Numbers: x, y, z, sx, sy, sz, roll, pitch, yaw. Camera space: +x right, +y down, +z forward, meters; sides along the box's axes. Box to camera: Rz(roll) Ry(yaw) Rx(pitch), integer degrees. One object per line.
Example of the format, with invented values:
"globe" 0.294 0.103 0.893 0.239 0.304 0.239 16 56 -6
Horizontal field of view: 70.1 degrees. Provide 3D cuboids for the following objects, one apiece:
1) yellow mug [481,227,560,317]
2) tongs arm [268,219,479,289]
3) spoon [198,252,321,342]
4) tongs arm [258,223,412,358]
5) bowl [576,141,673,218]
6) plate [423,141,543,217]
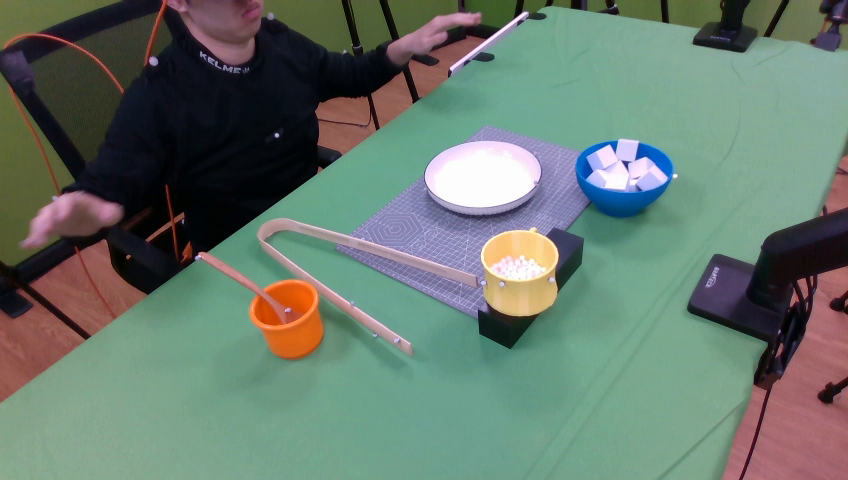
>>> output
"yellow mug" 0.131 0.032 0.801 0.099 0.064 0.131 11 43 20
"tongs arm" -0.090 0.018 0.953 0.385 0.028 0.028 15 50 26
"spoon" -0.220 0.075 0.814 0.021 0.194 0.041 -37 18 39
"tongs arm" -0.141 0.063 0.905 0.381 0.026 0.051 27 52 35
"bowl" 0.321 -0.089 0.984 0.151 0.077 0.150 -4 40 4
"plate" 0.103 -0.103 1.059 0.207 0.039 0.206 -4 40 4
